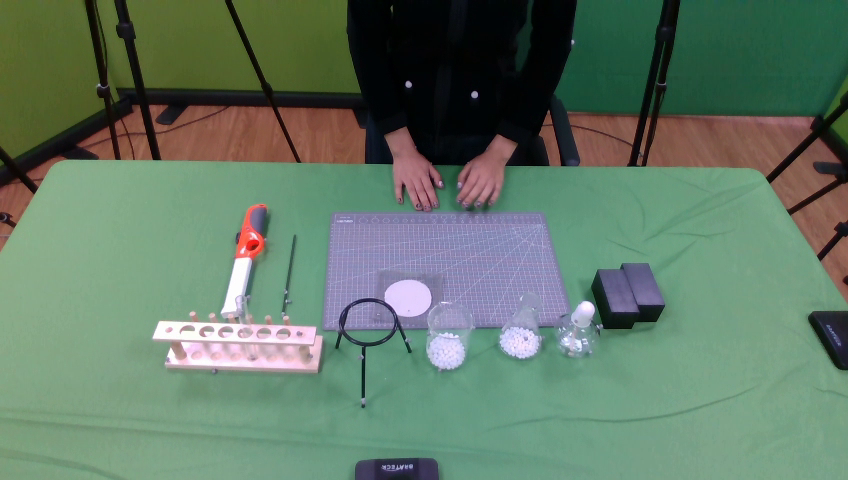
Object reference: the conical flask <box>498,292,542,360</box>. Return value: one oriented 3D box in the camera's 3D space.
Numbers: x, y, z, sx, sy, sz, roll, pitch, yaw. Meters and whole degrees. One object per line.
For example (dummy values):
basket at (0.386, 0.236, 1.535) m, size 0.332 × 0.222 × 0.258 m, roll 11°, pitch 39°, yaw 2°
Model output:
conical flask at (0.167, 0.139, 1.010) m, size 0.075 × 0.122 × 0.075 m, roll 2°, pitch 46°, yaw -2°

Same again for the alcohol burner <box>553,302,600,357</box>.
alcohol burner at (0.260, 0.143, 1.018) m, size 0.078 × 0.119 × 0.077 m, roll 3°, pitch 45°, yaw -3°

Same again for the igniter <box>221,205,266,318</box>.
igniter at (-0.338, 0.030, 1.140) m, size 0.057 × 0.025 × 0.274 m, roll -5°, pitch 46°, yaw 3°

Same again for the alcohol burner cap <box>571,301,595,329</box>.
alcohol burner cap at (0.262, 0.120, 0.991) m, size 0.034 × 0.048 × 0.033 m, roll 1°, pitch 52°, yaw -1°

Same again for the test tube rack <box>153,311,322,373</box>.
test tube rack at (-0.294, 0.160, 0.977) m, size 0.242 × 0.085 × 0.066 m, roll 3°, pitch 46°, yaw -2°

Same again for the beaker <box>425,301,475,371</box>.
beaker at (0.038, 0.159, 0.996) m, size 0.074 × 0.101 × 0.083 m, roll -13°, pitch 48°, yaw -17°

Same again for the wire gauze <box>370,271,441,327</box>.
wire gauze at (-0.032, 0.103, 1.104) m, size 0.125 × 0.011 × 0.121 m, roll 4°, pitch 46°, yaw 3°

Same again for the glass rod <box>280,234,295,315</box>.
glass rod at (-0.253, 0.060, 1.132) m, size 0.008 × 0.008 × 0.198 m, roll 0°, pitch 46°, yaw -4°

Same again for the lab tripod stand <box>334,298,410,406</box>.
lab tripod stand at (-0.086, 0.164, 0.957) m, size 0.148 × 0.132 × 0.147 m, roll 3°, pitch 44°, yaw -2°

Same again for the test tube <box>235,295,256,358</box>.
test tube at (-0.274, 0.136, 0.933) m, size 0.017 × 0.151 × 0.017 m, roll 4°, pitch 46°, yaw -4°
